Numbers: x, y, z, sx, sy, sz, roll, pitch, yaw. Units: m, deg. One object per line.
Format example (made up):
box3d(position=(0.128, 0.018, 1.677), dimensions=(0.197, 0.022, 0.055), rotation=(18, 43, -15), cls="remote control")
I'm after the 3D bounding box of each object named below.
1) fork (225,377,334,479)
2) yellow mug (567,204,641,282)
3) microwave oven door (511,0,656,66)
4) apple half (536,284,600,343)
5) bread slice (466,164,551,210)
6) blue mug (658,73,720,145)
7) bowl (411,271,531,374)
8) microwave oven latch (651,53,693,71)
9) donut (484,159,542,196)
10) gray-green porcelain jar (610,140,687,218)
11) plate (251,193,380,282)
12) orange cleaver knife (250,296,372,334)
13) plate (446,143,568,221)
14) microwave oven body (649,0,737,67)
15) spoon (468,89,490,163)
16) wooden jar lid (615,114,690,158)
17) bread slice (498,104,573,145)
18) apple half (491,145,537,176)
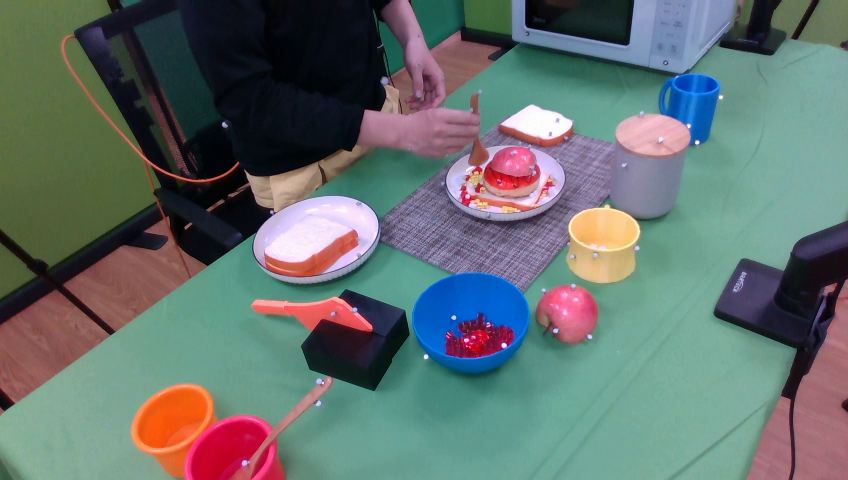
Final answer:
box3d(position=(-0.163, 0.216, 0.646), dimensions=(0.207, 0.019, 0.028), rotation=(-49, 42, 16), cls="fork")
box3d(position=(0.268, -0.005, 0.905), dimensions=(0.099, 0.064, 0.130), rotation=(6, 42, 16), cls="yellow mug")
box3d(position=(0.350, -0.539, 1.348), dimensions=(0.353, 0.245, 0.039), rotation=(24, 50, 31), cls="microwave oven door")
box3d(position=(0.196, 0.091, 0.815), dimensions=(0.075, 0.053, 0.080), rotation=(-22, 42, -20), cls="apple half")
box3d(position=(0.141, -0.094, 1.041), dimensions=(0.133, 0.018, 0.107), rotation=(8, 42, 21), cls="bread slice")
box3d(position=(0.483, -0.250, 1.127), dimensions=(0.082, 0.106, 0.115), rotation=(-26, 44, -20), cls="blue mug")
box3d(position=(0.062, 0.119, 0.780), dimensions=(0.151, 0.077, 0.150), rotation=(-4, 40, 4), cls="bowl")
box3d(position=(0.532, -0.386, 1.301), dimensions=(0.078, 0.029, 0.030), rotation=(27, 52, 34), cls="microwave oven latch")
box3d(position=(0.150, -0.112, 1.018), dimensions=(0.099, 0.048, 0.098), rotation=(-4, 40, 4), cls="donut")
box3d(position=(0.354, -0.106, 0.964), dimensions=(0.106, 0.127, 0.105), rotation=(-4, 41, 4), cls="gray-green porcelain jar")
box3d(position=(-0.174, -0.001, 0.984), dimensions=(0.209, 0.038, 0.208), rotation=(-4, 40, 4), cls="plate")
box3d(position=(-0.159, 0.103, 0.828), dimensions=(0.210, 0.078, 0.012), rotation=(-4, 43, 39), cls="orange cleaver knife")
box3d(position=(0.142, -0.097, 1.045), dimensions=(0.207, 0.039, 0.206), rotation=(-4, 40, 4), cls="plate")
box3d(position=(0.475, -0.602, 1.411), dimensions=(0.438, 0.261, 0.327), rotation=(23, 50, 32), cls="microwave oven body")
box3d(position=(0.086, -0.182, 0.993), dimensions=(0.041, 0.195, 0.021), rotation=(-19, 60, -2), cls="spoon")
box3d(position=(0.347, -0.155, 0.923), dimensions=(0.108, 0.021, 0.108), rotation=(-3, 44, 4), cls="wooden jar lid")
box3d(position=(0.231, -0.231, 1.205), dimensions=(0.105, 0.019, 0.130), rotation=(-36, 47, -28), cls="bread slice")
box3d(position=(0.149, -0.139, 0.995), dimensions=(0.081, 0.033, 0.081), rotation=(1, 39, 0), cls="apple half")
